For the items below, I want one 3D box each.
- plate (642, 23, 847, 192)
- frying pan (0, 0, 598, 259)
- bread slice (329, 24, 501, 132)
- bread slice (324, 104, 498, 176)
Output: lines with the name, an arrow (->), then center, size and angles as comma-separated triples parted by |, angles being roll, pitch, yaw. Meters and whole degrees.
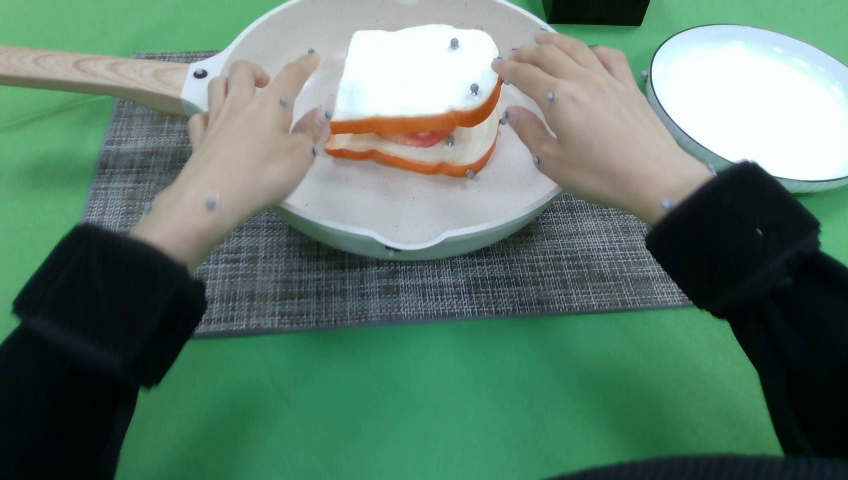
plate -> 0.297, -0.118, 0.545 | 0.208, 0.039, 0.205 | 2, 54, -2
frying pan -> -0.117, -0.111, 0.466 | 0.489, 0.103, 0.303 | 6, 52, -9
bread slice -> -0.005, -0.131, 0.479 | 0.131, 0.019, 0.104 | 1, 60, 11
bread slice -> -0.006, -0.100, 0.513 | 0.134, 0.018, 0.106 | 10, 55, 3
